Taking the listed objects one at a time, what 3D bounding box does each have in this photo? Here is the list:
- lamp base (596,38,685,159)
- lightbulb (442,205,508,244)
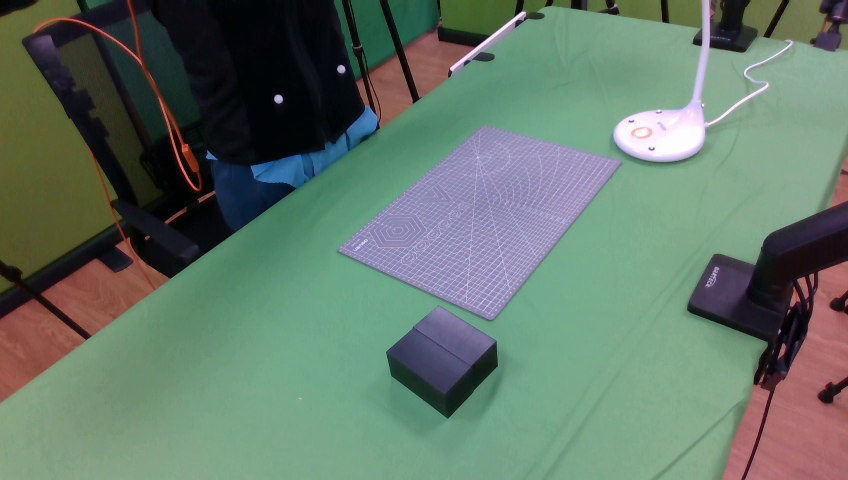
[{"bbox_3d":[0.408,-0.264,1.094,0.180,0.181,0.159,-29,45,-27],"label":"lamp base"},{"bbox_3d":[0.080,-0.019,0.955,0.107,0.059,0.059,18,44,5],"label":"lightbulb"}]
